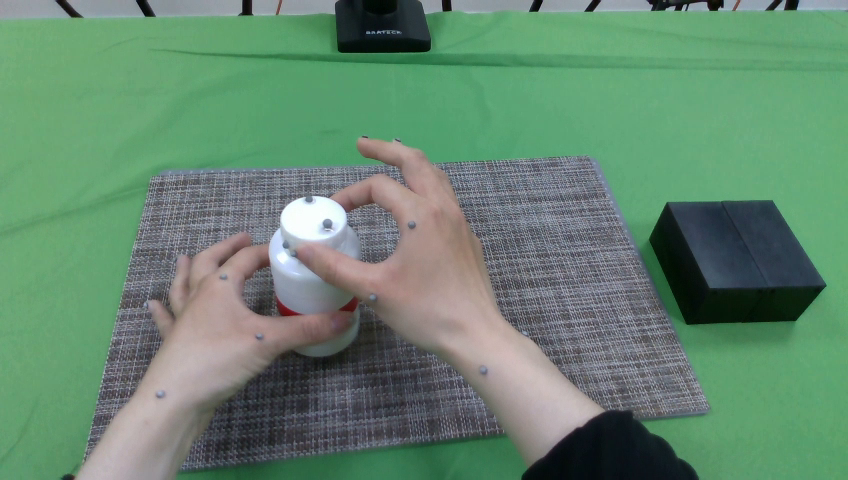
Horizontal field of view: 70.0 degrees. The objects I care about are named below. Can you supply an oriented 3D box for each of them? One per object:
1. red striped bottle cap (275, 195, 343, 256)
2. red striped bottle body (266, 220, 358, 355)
[{"bbox_3d":[-0.076,-0.010,0.402,0.045,0.018,0.044,9,42,-8],"label":"red striped bottle cap"},{"bbox_3d":[-0.080,0.026,0.443,0.063,0.120,0.062,3,46,-3],"label":"red striped bottle body"}]
